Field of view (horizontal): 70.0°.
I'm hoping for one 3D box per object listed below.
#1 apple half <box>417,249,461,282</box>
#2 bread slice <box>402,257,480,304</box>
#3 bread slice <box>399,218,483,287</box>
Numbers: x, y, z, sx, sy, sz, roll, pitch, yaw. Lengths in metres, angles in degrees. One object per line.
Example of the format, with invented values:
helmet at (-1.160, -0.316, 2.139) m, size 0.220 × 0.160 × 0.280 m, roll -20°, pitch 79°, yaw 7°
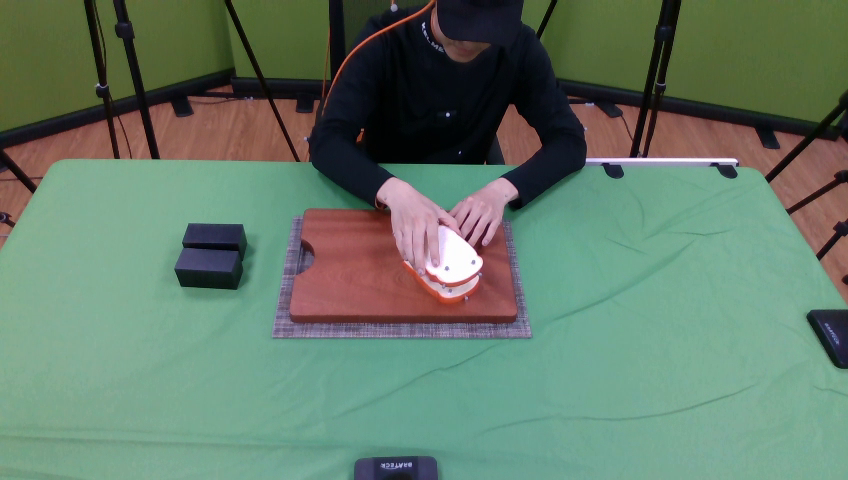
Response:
apple half at (0.029, 0.036, 1.096) m, size 0.081 × 0.033 × 0.081 m, roll 1°, pitch 43°, yaw -1°
bread slice at (0.040, 0.058, 1.106) m, size 0.105 × 0.019 × 0.131 m, roll -29°, pitch 54°, yaw -25°
bread slice at (0.039, 0.026, 1.074) m, size 0.107 × 0.018 × 0.133 m, roll -31°, pitch 58°, yaw -26°
